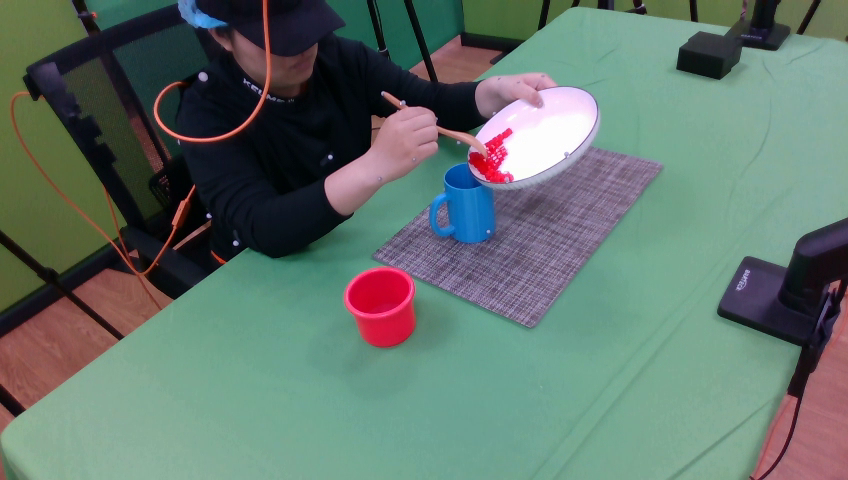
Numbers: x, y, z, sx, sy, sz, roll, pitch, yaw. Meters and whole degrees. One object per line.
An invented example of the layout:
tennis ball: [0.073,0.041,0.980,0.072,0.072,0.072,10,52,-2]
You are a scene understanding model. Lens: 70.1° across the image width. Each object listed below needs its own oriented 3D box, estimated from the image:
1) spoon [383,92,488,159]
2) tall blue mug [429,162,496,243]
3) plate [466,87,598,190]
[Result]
spoon: [0.021,-0.168,0.896,0.195,0.021,0.041,21,25,-26]
tall blue mug: [0.067,-0.051,0.960,0.077,0.108,0.107,18,47,27]
plate: [0.163,-0.147,0.909,0.207,0.039,0.206,-22,39,20]
